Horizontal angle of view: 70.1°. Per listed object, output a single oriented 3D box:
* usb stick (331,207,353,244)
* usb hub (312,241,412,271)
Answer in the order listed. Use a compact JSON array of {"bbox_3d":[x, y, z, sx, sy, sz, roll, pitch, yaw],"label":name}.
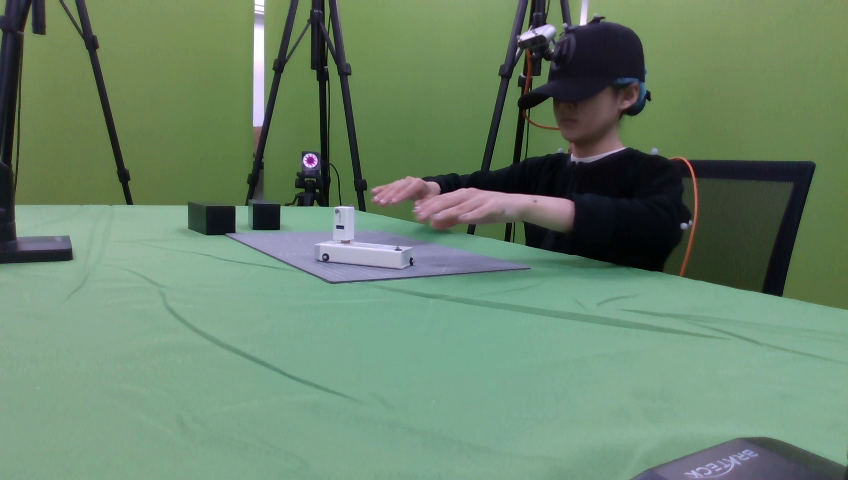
[{"bbox_3d":[-0.110,-0.014,0.812,0.021,0.059,0.027,6,11,16],"label":"usb stick"},{"bbox_3d":[-0.083,0.020,0.803,0.125,0.025,0.049,5,8,17],"label":"usb hub"}]
